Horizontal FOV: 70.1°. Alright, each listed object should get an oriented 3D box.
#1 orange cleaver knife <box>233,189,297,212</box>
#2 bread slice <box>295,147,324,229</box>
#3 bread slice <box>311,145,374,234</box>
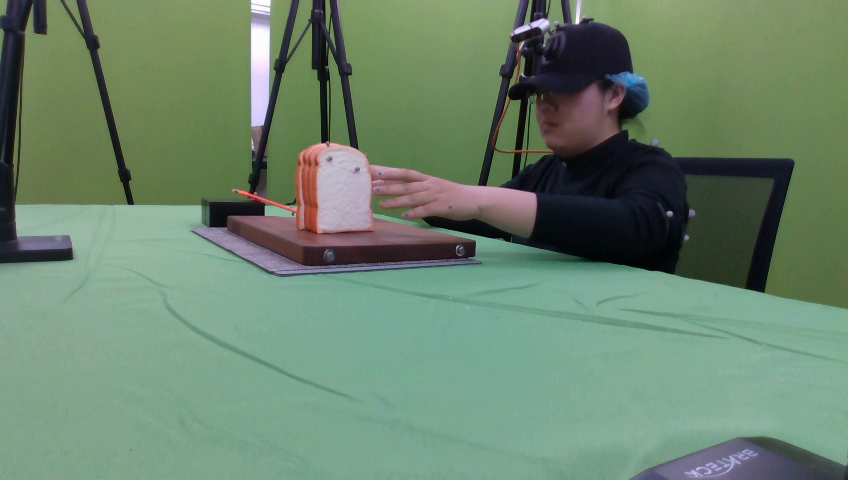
[{"bbox_3d":[-0.279,-0.066,1.219,0.212,0.012,0.077,20,-3,-21],"label":"orange cleaver knife"},{"bbox_3d":[-0.157,-0.082,0.959,0.105,0.131,0.019,-1,-2,-43],"label":"bread slice"},{"bbox_3d":[-0.127,-0.076,0.919,0.107,0.134,0.018,-8,7,-41],"label":"bread slice"}]
